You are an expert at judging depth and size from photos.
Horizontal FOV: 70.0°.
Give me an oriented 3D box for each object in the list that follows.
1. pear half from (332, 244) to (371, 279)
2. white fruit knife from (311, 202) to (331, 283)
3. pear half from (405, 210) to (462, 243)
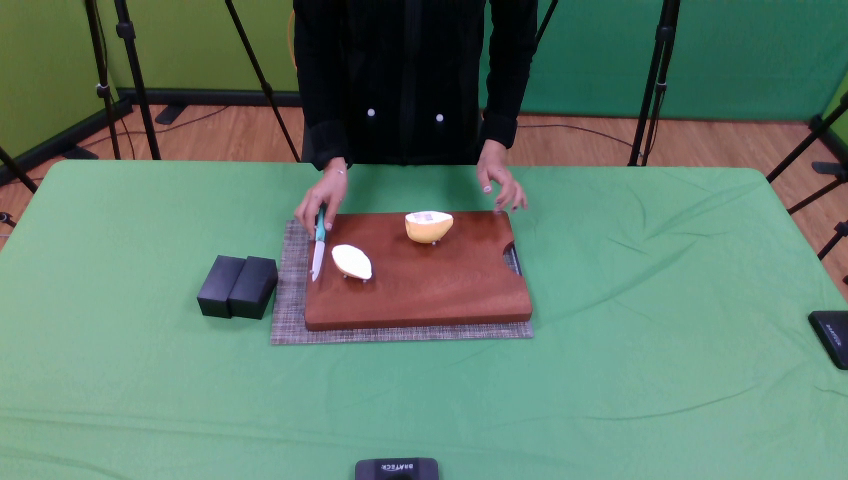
[{"bbox_3d":[-0.132,0.045,1.097,0.070,0.031,0.087,-22,65,-43],"label":"pear half"},{"bbox_3d":[-0.195,-0.001,1.131,0.016,0.027,0.206,-25,41,23],"label":"white fruit knife"},{"bbox_3d":[0.021,-0.026,1.160,0.110,0.056,0.076,-8,28,-8],"label":"pear half"}]
